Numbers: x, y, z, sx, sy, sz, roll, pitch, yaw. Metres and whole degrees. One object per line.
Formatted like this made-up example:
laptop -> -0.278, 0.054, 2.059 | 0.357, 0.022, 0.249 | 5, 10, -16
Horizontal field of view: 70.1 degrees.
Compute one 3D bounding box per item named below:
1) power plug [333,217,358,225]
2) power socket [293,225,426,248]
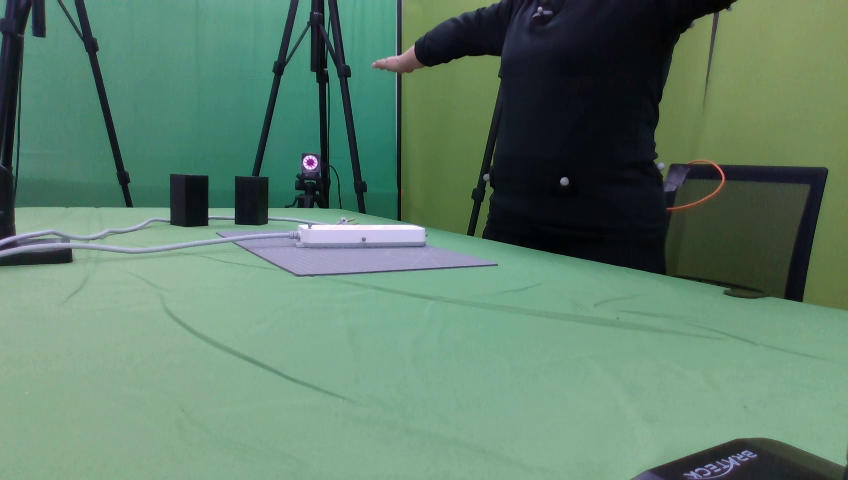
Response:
power plug -> -0.153, -0.030, 1.125 | 0.053, 0.035, 0.072 | -18, 24, -13
power socket -> -0.104, -0.008, 1.003 | 0.228, 0.032, 0.072 | -1, 7, -23
